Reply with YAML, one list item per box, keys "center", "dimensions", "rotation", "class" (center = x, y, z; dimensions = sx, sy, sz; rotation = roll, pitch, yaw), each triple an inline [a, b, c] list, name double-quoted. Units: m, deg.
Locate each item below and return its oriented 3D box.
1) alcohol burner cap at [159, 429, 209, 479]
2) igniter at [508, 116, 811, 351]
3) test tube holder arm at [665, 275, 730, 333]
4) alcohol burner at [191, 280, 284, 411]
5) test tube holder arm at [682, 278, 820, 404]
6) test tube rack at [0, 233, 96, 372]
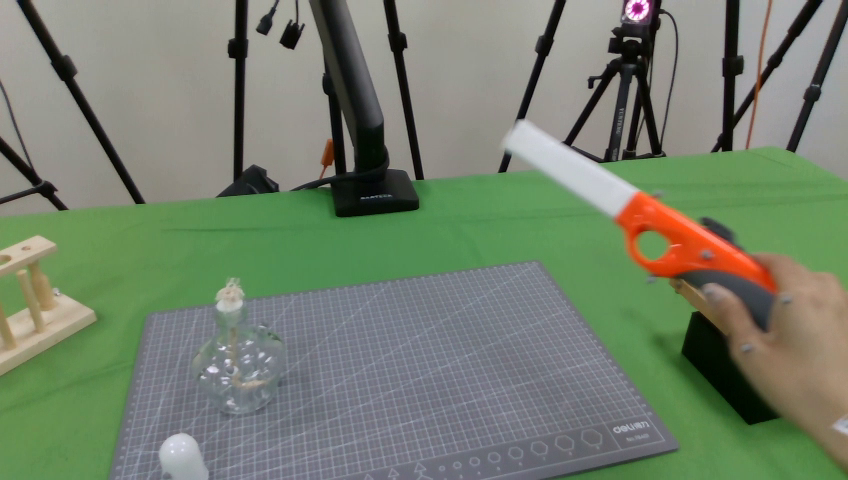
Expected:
- center: [-0.184, 0.165, 0.460]
  dimensions: [0.034, 0.048, 0.033]
  rotation: [1, 31, 0]
  class: "alcohol burner cap"
- center: [0.165, -0.019, 0.461]
  dimensions: [0.273, 0.057, 0.025]
  rotation: [44, 11, 36]
  class: "igniter"
- center: [0.262, 0.057, 0.578]
  dimensions: [0.010, 0.015, 0.087]
  rotation: [0, 30, -20]
  class: "test tube holder arm"
- center: [-0.162, 0.087, 0.521]
  dimensions: [0.078, 0.120, 0.077]
  rotation: [0, 29, 0]
  class: "alcohol burner"
- center: [0.280, 0.080, 0.544]
  dimensions: [0.013, 0.015, 0.176]
  rotation: [0, 30, -20]
  class: "test tube holder arm"
- center: [-0.437, 0.089, 0.545]
  dimensions: [0.066, 0.086, 0.242]
  rotation: [18, 35, 27]
  class: "test tube rack"
